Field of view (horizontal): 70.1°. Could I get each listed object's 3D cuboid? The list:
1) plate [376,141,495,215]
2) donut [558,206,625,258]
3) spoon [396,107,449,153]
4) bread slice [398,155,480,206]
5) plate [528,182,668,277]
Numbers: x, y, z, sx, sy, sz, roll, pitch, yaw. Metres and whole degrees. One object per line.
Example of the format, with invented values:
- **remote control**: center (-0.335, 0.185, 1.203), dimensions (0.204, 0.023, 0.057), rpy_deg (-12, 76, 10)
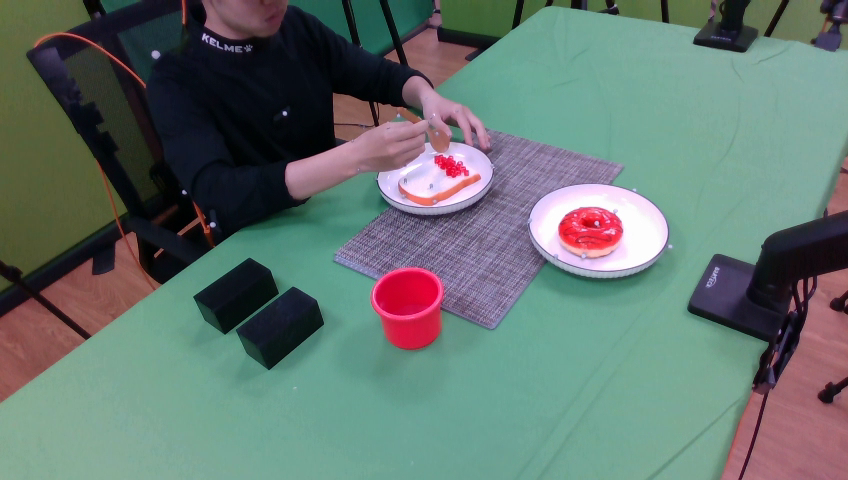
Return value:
- **plate**: center (0.022, -0.106, 1.073), dimensions (0.209, 0.038, 0.208), rpy_deg (-4, 40, 4)
- **donut**: center (0.254, -0.015, 0.917), dimensions (0.099, 0.048, 0.098), rpy_deg (-5, 41, 5)
- **spoon**: center (0.001, -0.185, 1.000), dimensions (0.021, 0.195, 0.041), rpy_deg (11, 86, 22)
- **bread slice**: center (0.021, -0.106, 1.078), dimensions (0.132, 0.019, 0.104), rpy_deg (-31, 45, -29)
- **plate**: center (0.264, -0.014, 0.933), dimensions (0.207, 0.039, 0.206), rpy_deg (-3, 42, 3)
